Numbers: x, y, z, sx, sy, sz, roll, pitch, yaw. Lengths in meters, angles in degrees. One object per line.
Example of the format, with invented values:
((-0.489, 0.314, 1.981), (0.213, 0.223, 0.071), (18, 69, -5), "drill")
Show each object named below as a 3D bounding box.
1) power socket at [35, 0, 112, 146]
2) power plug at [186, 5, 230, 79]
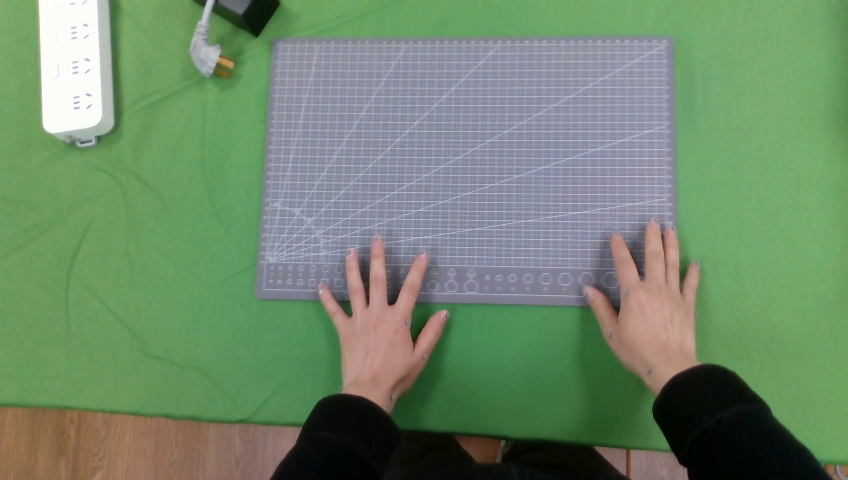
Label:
((-0.406, -0.222, 0.701), (0.072, 0.033, 0.226), (-8, 81, 2), "power socket")
((-0.235, -0.214, 0.675), (0.053, 0.073, 0.035), (19, 39, -27), "power plug")
